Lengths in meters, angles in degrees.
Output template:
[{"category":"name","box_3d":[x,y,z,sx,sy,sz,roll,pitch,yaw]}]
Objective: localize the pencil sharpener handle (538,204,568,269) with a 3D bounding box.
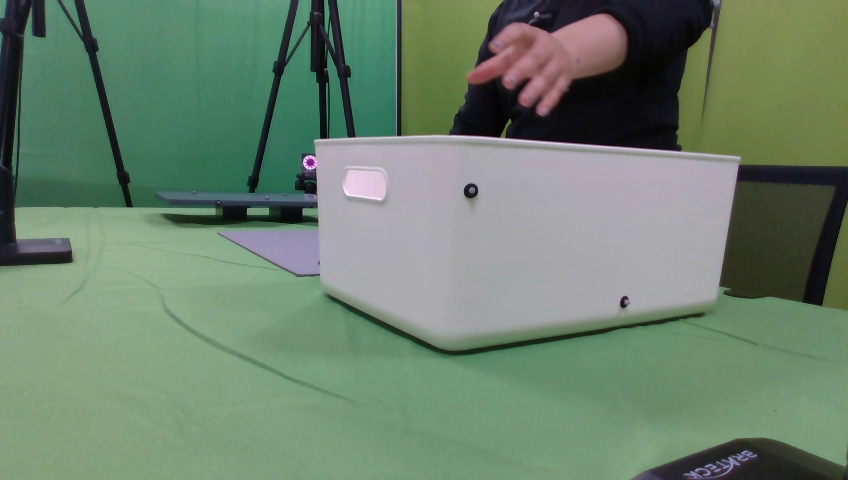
[{"category":"pencil sharpener handle","box_3d":[0.138,-0.003,0.621,0.031,0.067,0.036,0,15,-33]}]

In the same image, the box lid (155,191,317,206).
[{"category":"box lid","box_3d":[-0.387,-0.091,1.340,0.373,0.015,0.262,-1,8,-30]}]

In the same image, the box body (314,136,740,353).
[{"category":"box body","box_3d":[0.098,-0.012,0.605,0.366,0.160,0.253,-2,8,-33]}]

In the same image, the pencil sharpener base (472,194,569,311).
[{"category":"pencil sharpener base","box_3d":[0.095,0.010,0.592,0.077,0.107,0.061,0,6,-33]}]
